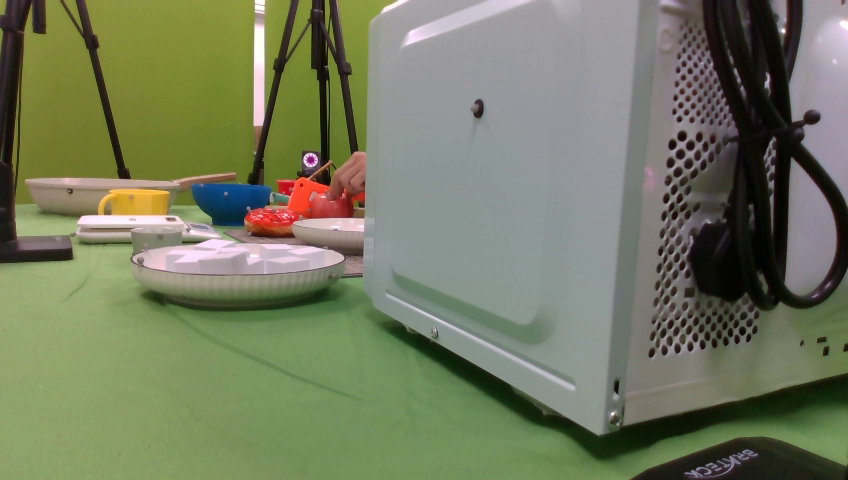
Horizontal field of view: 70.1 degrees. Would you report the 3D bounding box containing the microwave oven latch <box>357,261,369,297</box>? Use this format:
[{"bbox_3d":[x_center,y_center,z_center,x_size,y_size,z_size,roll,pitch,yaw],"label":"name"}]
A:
[{"bbox_3d":[-0.019,0.033,0.531,0.079,0.029,0.030,-1,7,-27],"label":"microwave oven latch"}]

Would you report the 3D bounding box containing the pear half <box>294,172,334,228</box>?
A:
[{"bbox_3d":[-0.214,-0.077,1.181,0.076,0.110,0.056,-2,11,-14],"label":"pear half"}]

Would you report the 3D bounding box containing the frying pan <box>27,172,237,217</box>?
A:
[{"bbox_3d":[-0.624,-0.118,1.387,0.305,0.102,0.490,8,17,32],"label":"frying pan"}]

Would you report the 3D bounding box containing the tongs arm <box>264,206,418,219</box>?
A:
[{"bbox_3d":[-0.173,-0.061,1.362,0.387,0.026,0.050,-1,4,-31],"label":"tongs arm"}]

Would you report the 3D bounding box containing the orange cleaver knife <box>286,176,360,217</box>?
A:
[{"bbox_3d":[-0.159,-0.075,1.145,0.212,0.077,0.012,2,8,-35],"label":"orange cleaver knife"}]

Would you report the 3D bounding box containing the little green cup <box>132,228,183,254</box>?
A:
[{"bbox_3d":[-0.342,0.006,0.779,0.061,0.038,0.061,2,8,0],"label":"little green cup"}]

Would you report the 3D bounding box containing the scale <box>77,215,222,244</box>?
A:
[{"bbox_3d":[-0.434,-0.019,0.963,0.202,0.031,0.148,-1,9,-27],"label":"scale"}]

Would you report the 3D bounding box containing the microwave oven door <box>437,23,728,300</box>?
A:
[{"bbox_3d":[0.180,-0.073,0.621,0.358,0.243,0.039,-2,8,-29],"label":"microwave oven door"}]

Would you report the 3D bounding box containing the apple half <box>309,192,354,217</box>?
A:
[{"bbox_3d":[-0.164,-0.051,1.106,0.081,0.074,0.053,4,10,-34],"label":"apple half"}]

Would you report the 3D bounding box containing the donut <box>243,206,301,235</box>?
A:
[{"bbox_3d":[-0.261,-0.032,1.043,0.099,0.048,0.099,3,9,0],"label":"donut"}]

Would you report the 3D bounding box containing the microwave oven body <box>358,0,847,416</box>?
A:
[{"bbox_3d":[0.211,-0.047,0.474,0.444,0.260,0.324,-1,7,-28],"label":"microwave oven body"}]

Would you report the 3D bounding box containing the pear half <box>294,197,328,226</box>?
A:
[{"bbox_3d":[-0.235,-0.053,1.253,0.071,0.031,0.087,-1,36,-16],"label":"pear half"}]

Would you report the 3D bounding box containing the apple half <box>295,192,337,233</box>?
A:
[{"bbox_3d":[-0.205,-0.051,1.134,0.082,0.081,0.032,-1,3,-26],"label":"apple half"}]

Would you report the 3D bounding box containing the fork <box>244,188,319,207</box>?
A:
[{"bbox_3d":[-0.356,-0.105,1.526,0.208,0.018,0.028,16,-6,-41],"label":"fork"}]

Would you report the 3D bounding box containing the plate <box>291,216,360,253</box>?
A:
[{"bbox_3d":[-0.103,-0.009,0.945,0.209,0.038,0.209,2,8,0],"label":"plate"}]

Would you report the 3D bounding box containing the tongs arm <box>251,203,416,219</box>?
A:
[{"bbox_3d":[-0.210,-0.069,1.439,0.389,0.027,0.028,1,0,-17],"label":"tongs arm"}]

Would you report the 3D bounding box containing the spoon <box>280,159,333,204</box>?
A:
[{"bbox_3d":[-0.316,-0.159,1.640,0.194,0.022,0.041,-50,31,-20],"label":"spoon"}]

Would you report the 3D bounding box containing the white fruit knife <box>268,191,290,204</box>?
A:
[{"bbox_3d":[-0.364,-0.105,1.464,0.208,0.027,0.016,15,-1,-34],"label":"white fruit knife"}]

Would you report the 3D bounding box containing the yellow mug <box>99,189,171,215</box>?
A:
[{"bbox_3d":[-0.519,-0.055,1.080,0.099,0.064,0.131,7,9,26],"label":"yellow mug"}]

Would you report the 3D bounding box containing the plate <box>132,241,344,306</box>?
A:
[{"bbox_3d":[-0.187,0.033,0.625,0.208,0.039,0.207,2,8,0],"label":"plate"}]

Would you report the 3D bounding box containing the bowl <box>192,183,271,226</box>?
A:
[{"bbox_3d":[-0.382,-0.070,1.202,0.151,0.077,0.151,3,7,0],"label":"bowl"}]
